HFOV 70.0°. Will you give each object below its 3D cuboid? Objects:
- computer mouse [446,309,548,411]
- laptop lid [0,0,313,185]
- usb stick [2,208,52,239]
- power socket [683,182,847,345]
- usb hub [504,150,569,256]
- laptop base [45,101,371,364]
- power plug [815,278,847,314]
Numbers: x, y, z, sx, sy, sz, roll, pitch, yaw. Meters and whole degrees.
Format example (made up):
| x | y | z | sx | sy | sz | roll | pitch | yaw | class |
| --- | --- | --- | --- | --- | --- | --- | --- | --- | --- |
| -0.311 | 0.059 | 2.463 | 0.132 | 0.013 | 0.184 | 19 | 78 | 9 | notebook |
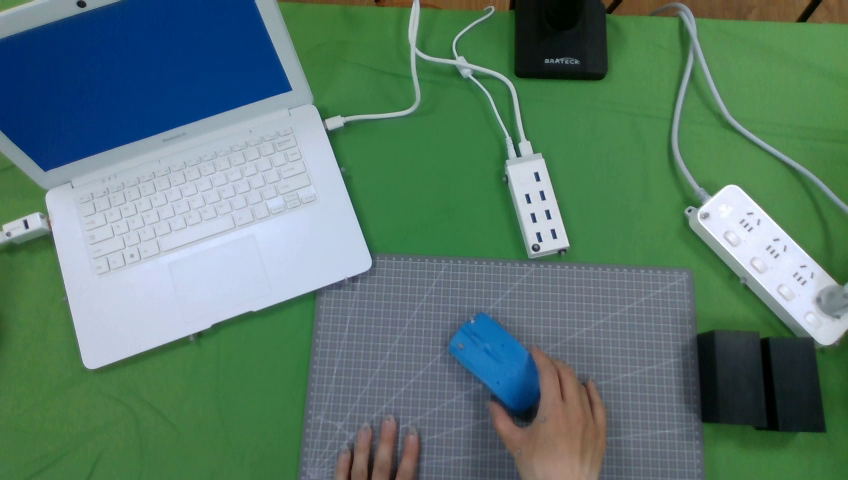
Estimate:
| x | y | z | sx | sy | sz | roll | pitch | yaw | class |
| --- | --- | --- | --- | --- | --- | --- | --- | --- | --- |
| 0.082 | 0.134 | 0.688 | 0.063 | 0.041 | 0.116 | -44 | 75 | -9 | computer mouse |
| -0.318 | -0.182 | 0.668 | 0.357 | 0.244 | 0.013 | -20 | 61 | -3 | laptop lid |
| -0.472 | -0.022 | 0.733 | 0.059 | 0.027 | 0.021 | -20 | 79 | -9 | usb stick |
| 0.411 | 0.026 | 0.718 | 0.072 | 0.033 | 0.225 | -39 | 78 | -9 | power socket |
| 0.136 | -0.046 | 0.744 | 0.049 | 0.025 | 0.124 | -12 | 75 | -2 | usb hub |
| -0.265 | -0.017 | 0.743 | 0.354 | 0.023 | 0.234 | -20 | 79 | -4 | laptop base |
| 0.481 | 0.057 | 0.690 | 0.072 | 0.053 | 0.035 | -28 | 76 | -9 | power plug |
